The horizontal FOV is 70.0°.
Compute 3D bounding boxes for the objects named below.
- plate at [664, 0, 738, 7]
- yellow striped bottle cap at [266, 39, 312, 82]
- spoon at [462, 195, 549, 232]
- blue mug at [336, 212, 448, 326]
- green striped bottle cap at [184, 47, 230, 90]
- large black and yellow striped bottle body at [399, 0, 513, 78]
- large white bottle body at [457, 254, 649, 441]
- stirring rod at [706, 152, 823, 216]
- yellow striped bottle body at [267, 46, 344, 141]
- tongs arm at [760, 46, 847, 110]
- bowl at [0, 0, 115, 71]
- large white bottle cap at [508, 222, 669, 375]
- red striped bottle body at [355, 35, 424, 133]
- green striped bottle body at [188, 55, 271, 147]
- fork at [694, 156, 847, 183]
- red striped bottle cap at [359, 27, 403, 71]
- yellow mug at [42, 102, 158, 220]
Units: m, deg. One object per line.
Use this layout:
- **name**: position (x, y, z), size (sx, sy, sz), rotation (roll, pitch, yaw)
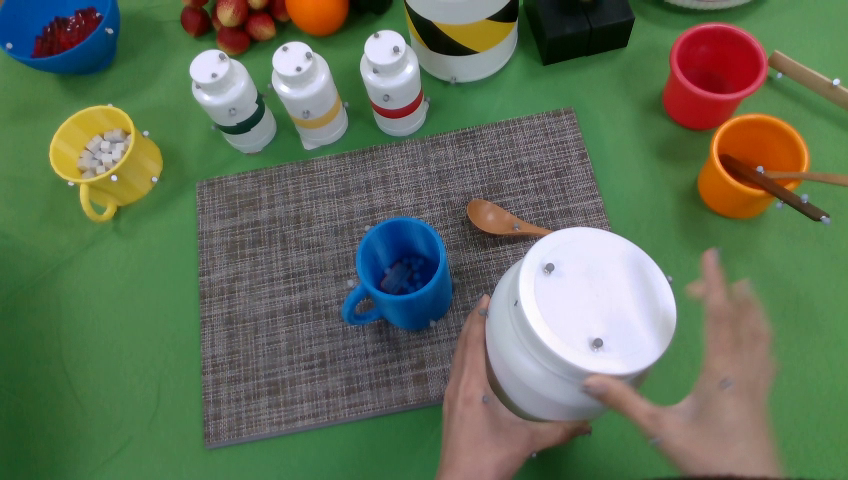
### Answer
- **plate**: position (0.338, -0.370, 0.753), size (0.209, 0.038, 0.207), rotation (-2, 69, 5)
- **yellow striped bottle cap**: position (-0.139, -0.186, 0.626), size (0.044, 0.019, 0.044), rotation (0, 64, 1)
- **spoon**: position (0.131, -0.007, 0.637), size (0.193, 0.022, 0.041), rotation (18, 50, 11)
- **blue mug**: position (-0.034, 0.040, 0.590), size (0.116, 0.106, 0.081), rotation (-35, 69, -8)
- **green striped bottle cap**: position (-0.226, -0.179, 0.632), size (0.044, 0.020, 0.044), rotation (-1, 67, 3)
- **large black and yellow striped bottle body**: position (0.034, -0.284, 0.670), size (0.130, 0.185, 0.130), rotation (-2, 69, 5)
- **large white bottle body**: position (0.105, 0.083, 0.504), size (0.131, 0.186, 0.129), rotation (4, 59, -6)
- **stirring rod**: position (0.320, -0.058, 0.582), size (0.014, 0.006, 0.174), rotation (-9, 25, -1)
- **yellow striped bottle body**: position (-0.133, -0.167, 0.675), size (0.063, 0.121, 0.062), rotation (-2, 68, 5)
- **tongs arm**: position (0.541, -0.111, 0.636), size (0.382, 0.027, 0.050), rotation (40, 73, 17)
- **bowl**: position (-0.454, -0.270, 0.767), size (0.151, 0.077, 0.150), rotation (-2, 69, 4)
- **large white bottle cap**: position (0.117, 0.039, 0.430), size (0.115, 0.018, 0.114), rotation (4, 60, -7)
- **red striped bottle body**: position (-0.038, -0.176, 0.670), size (0.063, 0.120, 0.062), rotation (-3, 67, 7)
- **green striped bottle body**: position (-0.220, -0.160, 0.680), size (0.063, 0.120, 0.062), rotation (-2, 68, 5)
- **fork**: position (0.351, -0.062, 0.573), size (0.028, 0.019, 0.205), rotation (-48, 28, -13)
- **red striped bottle cap**: position (-0.044, -0.196, 0.621), size (0.044, 0.018, 0.044), rotation (0, 67, 1)
- **yellow mug**: position (-0.372, -0.086, 0.695), size (0.100, 0.064, 0.130), rotation (-2, 69, 5)
